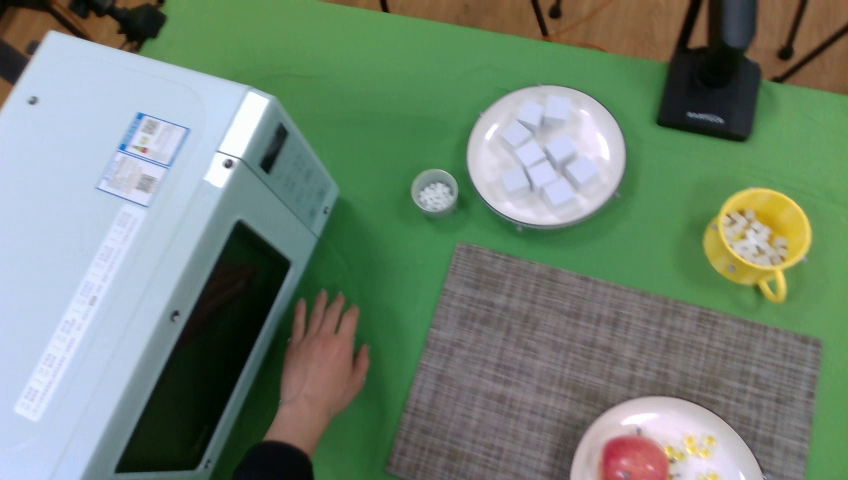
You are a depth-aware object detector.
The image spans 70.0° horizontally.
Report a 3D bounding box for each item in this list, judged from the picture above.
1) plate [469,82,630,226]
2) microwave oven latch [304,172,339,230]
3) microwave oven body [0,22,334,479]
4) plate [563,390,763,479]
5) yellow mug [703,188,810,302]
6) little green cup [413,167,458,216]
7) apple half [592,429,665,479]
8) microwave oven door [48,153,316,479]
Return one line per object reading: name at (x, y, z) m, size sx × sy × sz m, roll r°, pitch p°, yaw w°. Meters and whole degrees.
plate at (0.166, -0.113, 0.812) m, size 0.207 × 0.039 × 0.206 m, roll -3°, pitch 72°, yaw 8°
microwave oven latch at (-0.142, -0.056, 0.819) m, size 0.030 × 0.030 × 0.079 m, roll 21°, pitch 77°, yaw 14°
microwave oven body at (-0.358, 0.026, 0.721) m, size 0.325 × 0.262 × 0.440 m, roll 19°, pitch 76°, yaw 14°
plate at (0.258, 0.272, 0.667) m, size 0.209 × 0.038 × 0.208 m, roll -2°, pitch 72°, yaw 8°
yellow mug at (0.398, 0.010, 0.722) m, size 0.100 × 0.064 × 0.130 m, roll -12°, pitch 71°, yaw 4°
little green cup at (0.017, -0.063, 0.816) m, size 0.061 × 0.039 × 0.061 m, roll -2°, pitch 73°, yaw 7°
apple half at (0.225, 0.247, 0.664) m, size 0.074 × 0.054 × 0.080 m, roll 12°, pitch 75°, yaw 15°
microwave oven door at (-0.242, 0.108, 0.671) m, size 0.039 × 0.245 × 0.354 m, roll 19°, pitch 75°, yaw 14°
